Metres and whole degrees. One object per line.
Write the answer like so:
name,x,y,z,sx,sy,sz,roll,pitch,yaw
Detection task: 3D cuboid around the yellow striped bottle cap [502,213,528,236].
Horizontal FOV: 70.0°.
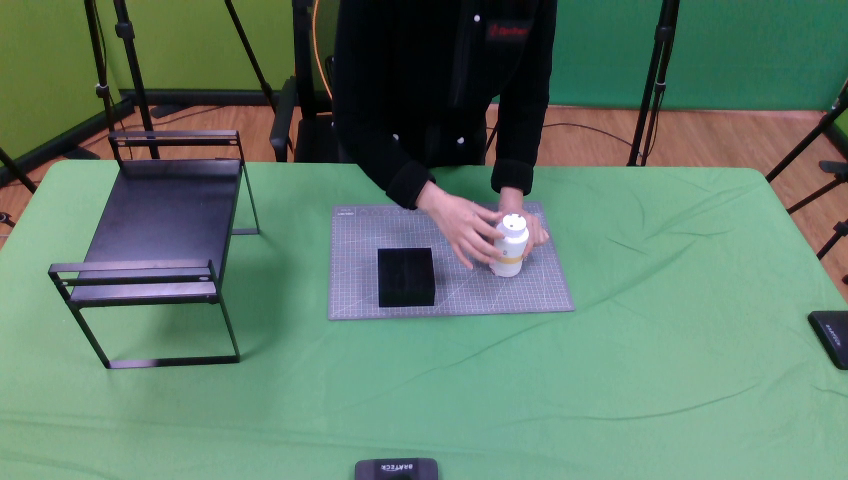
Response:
yellow striped bottle cap,0.164,-0.028,1.090,0.044,0.019,0.044,2,46,-1

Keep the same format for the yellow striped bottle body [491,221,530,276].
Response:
yellow striped bottle body,0.161,0.007,1.129,0.063,0.121,0.062,1,47,-1
